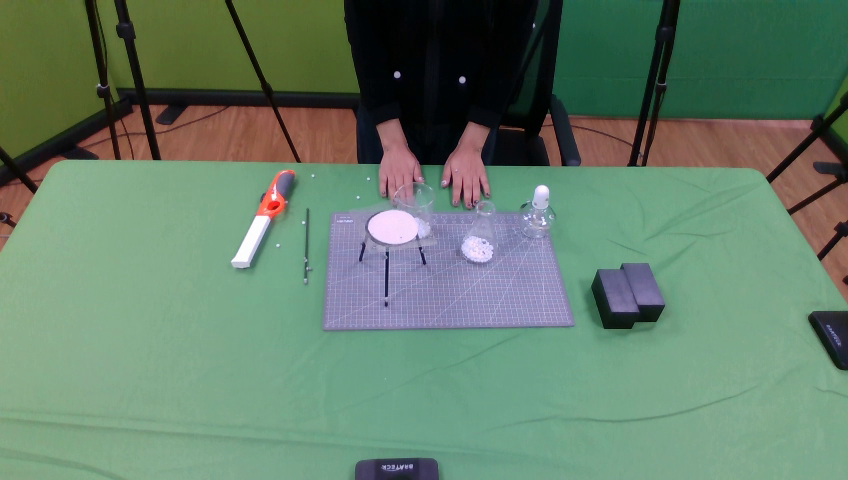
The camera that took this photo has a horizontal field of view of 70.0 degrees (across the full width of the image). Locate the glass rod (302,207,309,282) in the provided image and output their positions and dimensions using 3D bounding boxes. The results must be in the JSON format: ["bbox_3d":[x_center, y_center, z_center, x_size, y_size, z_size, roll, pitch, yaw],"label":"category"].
[{"bbox_3d":[-0.231,0.004,1.187,0.008,0.008,0.198,-2,47,-6],"label":"glass rod"}]

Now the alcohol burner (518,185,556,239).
[{"bbox_3d":[0.227,-0.061,1.209,0.078,0.120,0.077,1,44,-1],"label":"alcohol burner"}]

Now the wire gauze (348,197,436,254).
[{"bbox_3d":[-0.056,-0.026,1.045,0.125,0.011,0.120,-12,46,-17],"label":"wire gauze"}]

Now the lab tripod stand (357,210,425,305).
[{"bbox_3d":[-0.060,0.020,1.094,0.148,0.132,0.147,3,44,-2],"label":"lab tripod stand"}]

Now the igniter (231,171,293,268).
[{"bbox_3d":[-0.321,-0.051,1.220,0.057,0.025,0.275,1,45,11],"label":"igniter"}]

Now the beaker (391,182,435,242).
[{"bbox_3d":[-0.023,-0.053,1.192,0.084,0.101,0.073,-2,46,-5],"label":"beaker"}]

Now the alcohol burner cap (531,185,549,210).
[{"bbox_3d":[0.228,-0.085,1.183,0.034,0.048,0.033,-1,48,2],"label":"alcohol burner cap"}]

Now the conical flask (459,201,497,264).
[{"bbox_3d":[0.109,-0.018,1.153,0.075,0.122,0.075,2,46,-2],"label":"conical flask"}]
